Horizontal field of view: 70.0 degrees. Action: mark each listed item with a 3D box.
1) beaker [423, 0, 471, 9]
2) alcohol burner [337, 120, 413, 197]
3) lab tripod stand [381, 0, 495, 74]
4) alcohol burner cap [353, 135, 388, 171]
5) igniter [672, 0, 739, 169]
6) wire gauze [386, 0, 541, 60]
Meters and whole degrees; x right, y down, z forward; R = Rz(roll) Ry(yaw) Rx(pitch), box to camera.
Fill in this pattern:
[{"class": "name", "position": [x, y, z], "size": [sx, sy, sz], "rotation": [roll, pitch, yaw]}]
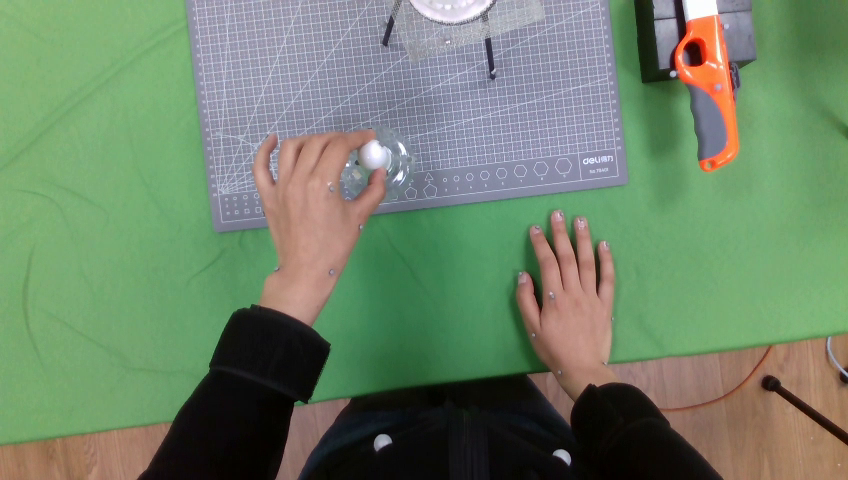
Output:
[{"class": "beaker", "position": [0.017, -0.232, 0.473], "size": [0.084, 0.100, 0.074], "rotation": [-8, 89, 0]}, {"class": "alcohol burner", "position": [-0.050, -0.082, 0.597], "size": [0.078, 0.119, 0.078], "rotation": [0, 92, -1]}, {"class": "lab tripod stand", "position": [0.023, -0.236, 0.586], "size": [0.148, 0.131, 0.148], "rotation": [0, 89, 1]}, {"class": "alcohol burner cap", "position": [-0.051, -0.082, 0.562], "size": [0.034, 0.048, 0.034], "rotation": [0, 89, -3]}, {"class": "igniter", "position": [0.272, -0.209, 0.598], "size": [0.057, 0.025, 0.276], "rotation": [-8, 90, 11]}, {"class": "wire gauze", "position": [0.024, -0.229, 0.521], "size": [0.125, 0.011, 0.121], "rotation": [-20, 91, -2]}]
